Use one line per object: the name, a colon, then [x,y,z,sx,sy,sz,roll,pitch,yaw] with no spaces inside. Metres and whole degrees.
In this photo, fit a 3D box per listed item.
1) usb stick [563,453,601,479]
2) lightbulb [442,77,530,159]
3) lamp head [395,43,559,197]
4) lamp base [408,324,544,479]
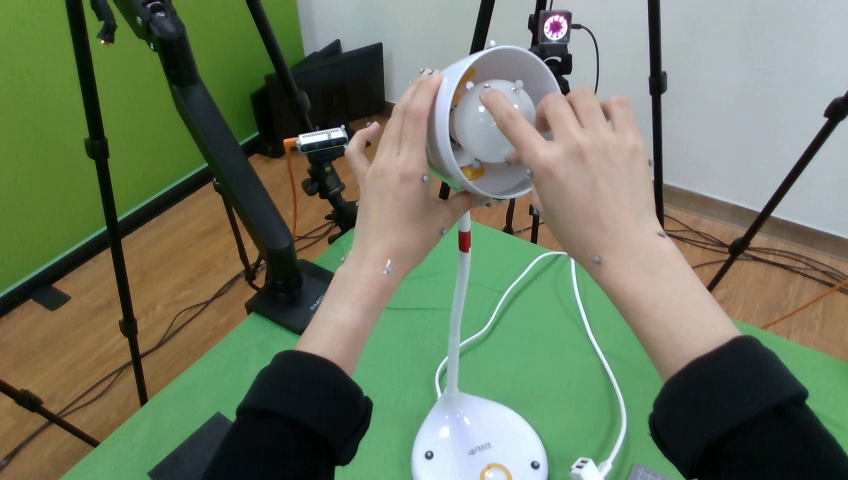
usb stick: [0.183,0.272,0.680,0.027,0.059,0.021,-30,6,-34]
lightbulb: [0.038,-0.092,0.467,0.059,0.060,0.107,-19,15,-20]
lamp head: [0.032,-0.090,0.494,0.112,0.113,0.122,-26,15,-26]
lamp base: [0.051,0.191,0.675,0.161,0.182,0.177,-25,43,-25]
